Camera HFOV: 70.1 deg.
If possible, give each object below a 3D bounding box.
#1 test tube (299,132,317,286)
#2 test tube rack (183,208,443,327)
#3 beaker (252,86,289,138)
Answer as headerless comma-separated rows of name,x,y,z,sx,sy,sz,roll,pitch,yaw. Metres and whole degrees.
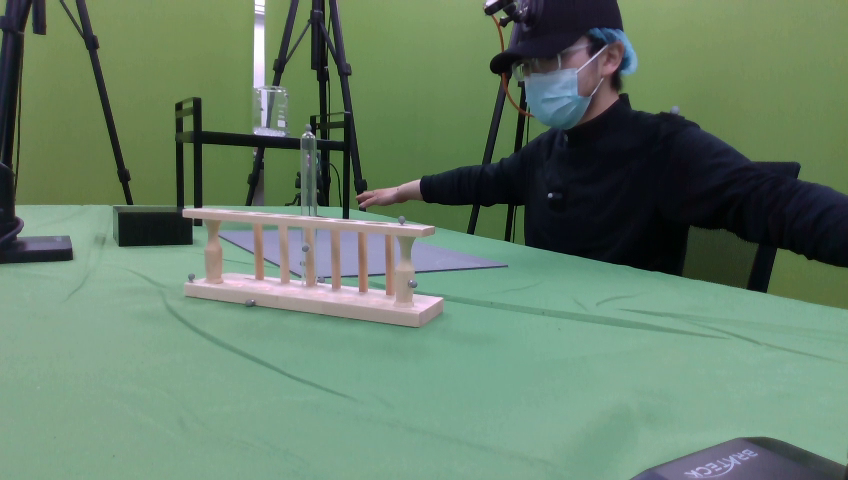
test tube,-0.113,-0.029,0.588,0.017,0.150,0.017,1,7,0
test tube rack,-0.106,0.019,0.570,0.241,0.085,0.067,5,8,19
beaker,-0.319,-0.263,1.250,0.074,0.100,0.084,5,8,21
